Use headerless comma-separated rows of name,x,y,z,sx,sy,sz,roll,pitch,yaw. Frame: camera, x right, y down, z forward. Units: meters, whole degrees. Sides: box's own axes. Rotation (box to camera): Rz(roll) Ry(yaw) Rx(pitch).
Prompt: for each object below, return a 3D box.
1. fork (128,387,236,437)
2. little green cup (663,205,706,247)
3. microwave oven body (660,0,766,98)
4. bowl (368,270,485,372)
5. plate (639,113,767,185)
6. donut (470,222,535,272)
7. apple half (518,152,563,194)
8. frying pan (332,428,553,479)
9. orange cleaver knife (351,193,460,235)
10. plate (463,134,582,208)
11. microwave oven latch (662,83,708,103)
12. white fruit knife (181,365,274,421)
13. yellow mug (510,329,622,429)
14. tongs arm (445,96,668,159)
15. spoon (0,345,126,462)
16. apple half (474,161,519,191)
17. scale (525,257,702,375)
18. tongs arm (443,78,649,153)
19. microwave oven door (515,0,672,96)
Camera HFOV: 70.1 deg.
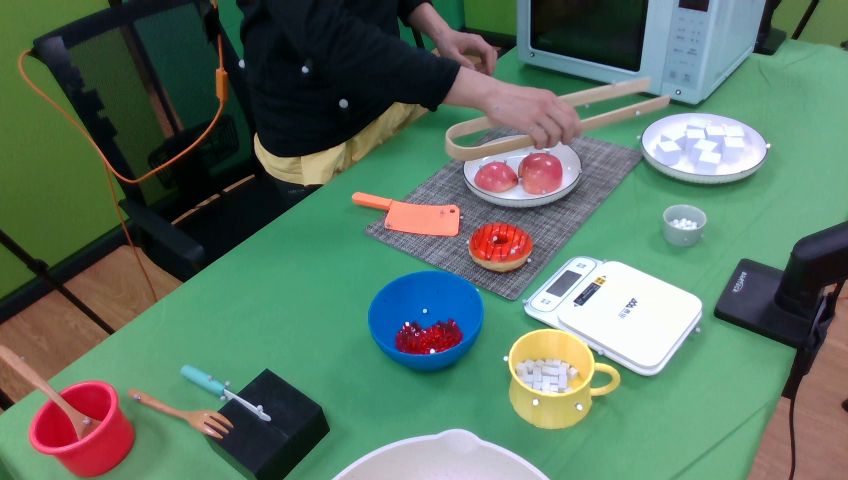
fork,-0.305,0.207,0.744,0.206,0.019,0.028,3,41,36
little green cup,0.396,-0.020,0.926,0.061,0.039,0.061,-4,40,4
microwave oven body,0.472,-0.513,1.317,0.438,0.261,0.327,26,51,34
bowl,0.007,0.118,0.791,0.151,0.077,0.150,-4,40,4
plate,0.489,-0.157,1.074,0.207,0.039,0.206,-4,40,4
donut,0.119,0.009,0.923,0.099,0.048,0.098,-4,38,3
apple half,0.203,-0.123,1.047,0.075,0.053,0.080,-2,41,1
frying pan,-0.089,0.306,0.564,0.487,0.103,0.306,10,41,7
orange cleaver knife,-0.036,-0.044,1.029,0.210,0.012,0.077,10,49,18
plate,0.173,-0.119,1.070,0.209,0.038,0.208,-4,40,4
microwave oven latch,0.517,-0.296,1.204,0.078,0.029,0.030,27,52,35
white fruit knife,-0.245,0.187,0.747,0.205,0.027,0.016,9,41,40
yellow mug,0.169,0.164,0.721,0.130,0.064,0.099,0,40,8
tongs arm,0.217,-0.179,0.944,0.389,0.028,0.028,-15,57,-15
spoon,-0.434,0.192,0.720,0.194,0.021,0.042,47,53,-6
apple half,0.130,-0.119,1.067,0.081,0.033,0.081,-4,36,3
scale,0.254,0.091,0.821,0.199,0.032,0.149,28,51,35
tongs arm,0.205,-0.202,0.962,0.386,0.026,0.050,-14,53,-14
microwave oven door,0.344,-0.455,1.259,0.353,0.245,0.039,26,51,33
